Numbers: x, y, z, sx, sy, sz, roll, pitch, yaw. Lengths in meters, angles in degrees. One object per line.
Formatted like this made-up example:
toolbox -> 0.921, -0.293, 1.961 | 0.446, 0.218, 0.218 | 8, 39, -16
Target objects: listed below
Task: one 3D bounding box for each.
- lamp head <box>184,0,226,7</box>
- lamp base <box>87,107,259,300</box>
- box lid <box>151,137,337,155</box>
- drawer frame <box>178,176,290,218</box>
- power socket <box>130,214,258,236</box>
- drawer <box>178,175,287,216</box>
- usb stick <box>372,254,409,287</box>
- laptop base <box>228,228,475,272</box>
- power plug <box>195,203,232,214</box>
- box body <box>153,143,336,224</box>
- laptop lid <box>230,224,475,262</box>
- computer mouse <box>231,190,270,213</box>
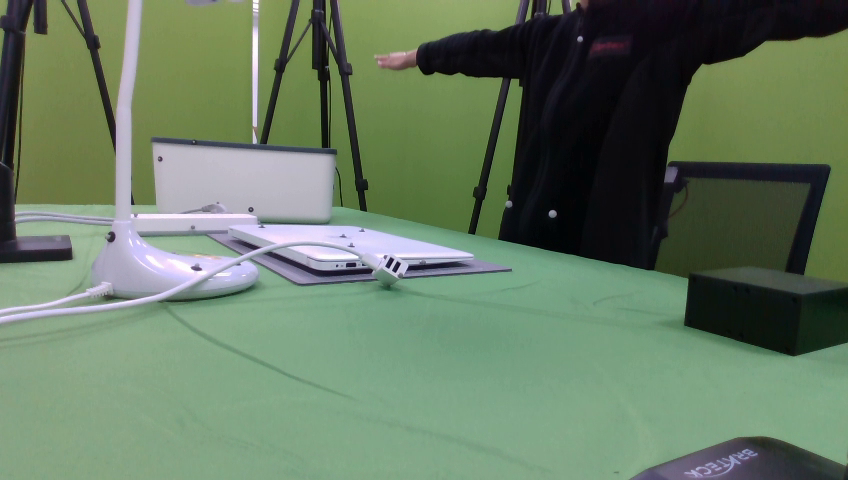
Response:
lamp head -> -0.229, -0.320, 0.627 | 0.112, 0.112, 0.123 | 6, -36, 26
lamp base -> -0.254, -0.039, 0.603 | 0.160, 0.180, 0.179 | 5, 10, 18
box lid -> -0.379, -0.203, 1.334 | 0.372, 0.015, 0.262 | 2, 7, -9
drawer frame -> -0.409, -0.099, 1.340 | 0.214, 0.082, 0.201 | -4, 7, -10
power socket -> -0.398, -0.028, 1.049 | 0.228, 0.032, 0.072 | -3, 7, -34
drawer -> -0.414, -0.103, 1.341 | 0.212, 0.073, 0.194 | 5, 6, -11
usb stick -> -0.039, 0.035, 0.663 | 0.027, 0.021, 0.059 | 29, -22, -7
laptop base -> -0.122, 0.011, 0.889 | 0.237, 0.023, 0.352 | 1, 7, -35
power plug -> -0.392, -0.043, 1.140 | 0.072, 0.052, 0.035 | -11, 2, 36
box body -> -0.380, -0.130, 1.344 | 0.365, 0.160, 0.253 | 1, 7, -9
laptop lid -> -0.119, 0.000, 0.889 | 0.243, 0.013, 0.355 | 1, 7, -33
computer mouse -> -0.382, -0.086, 1.342 | 0.063, 0.041, 0.117 | 10, 10, -4
